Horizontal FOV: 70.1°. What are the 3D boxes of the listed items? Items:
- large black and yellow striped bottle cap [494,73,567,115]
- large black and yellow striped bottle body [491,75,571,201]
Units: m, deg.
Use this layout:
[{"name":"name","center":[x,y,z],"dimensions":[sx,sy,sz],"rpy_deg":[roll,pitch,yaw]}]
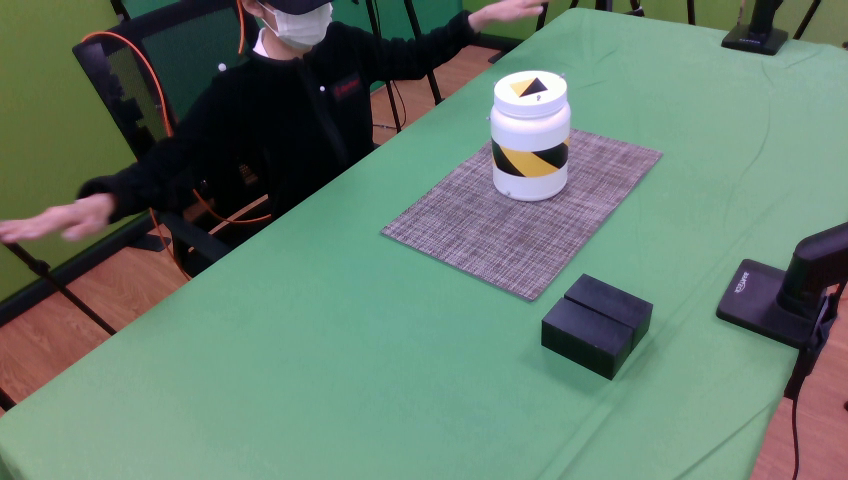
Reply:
[{"name":"large black and yellow striped bottle cap","center":[0.169,-0.235,0.964],"dimensions":[0.115,0.019,0.114],"rpy_deg":[-5,39,5]},{"name":"large black and yellow striped bottle body","center":[0.179,-0.172,1.019],"dimensions":[0.131,0.185,0.130],"rpy_deg":[-5,41,5]}]
